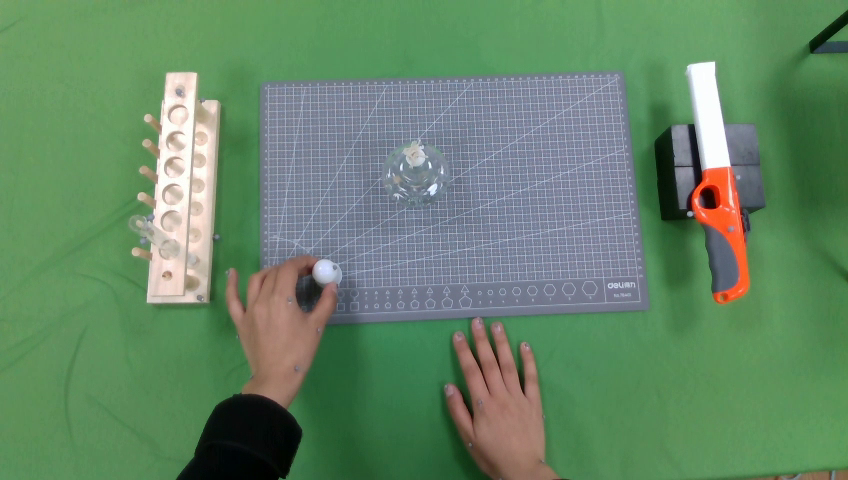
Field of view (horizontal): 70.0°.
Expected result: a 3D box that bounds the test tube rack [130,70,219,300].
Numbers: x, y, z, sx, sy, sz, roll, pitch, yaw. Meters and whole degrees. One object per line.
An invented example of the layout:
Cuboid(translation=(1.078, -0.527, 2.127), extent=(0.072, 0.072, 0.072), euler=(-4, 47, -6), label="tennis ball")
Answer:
Cuboid(translation=(-0.280, -0.058, 0.673), extent=(0.067, 0.085, 0.241), euler=(0, 80, -2), label="test tube rack")

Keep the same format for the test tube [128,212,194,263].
Cuboid(translation=(-0.262, 0.001, 0.614), extent=(0.017, 0.151, 0.017), euler=(1, 75, -3), label="test tube")

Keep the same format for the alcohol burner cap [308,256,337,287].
Cuboid(translation=(-0.116, 0.033, 0.681), extent=(0.034, 0.048, 0.033), euler=(1, 76, -5), label="alcohol burner cap")

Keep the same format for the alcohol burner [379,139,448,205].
Cuboid(translation=(-0.012, -0.080, 0.670), extent=(0.078, 0.119, 0.077), euler=(0, 80, -1), label="alcohol burner")

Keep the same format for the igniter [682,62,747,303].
Cuboid(translation=(0.322, -0.067, 0.678), extent=(0.057, 0.025, 0.275), euler=(-4, 79, 9), label="igniter")
